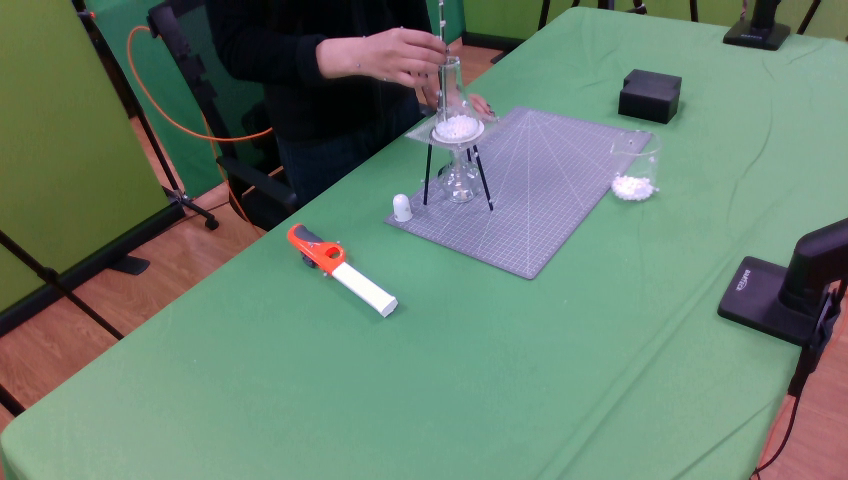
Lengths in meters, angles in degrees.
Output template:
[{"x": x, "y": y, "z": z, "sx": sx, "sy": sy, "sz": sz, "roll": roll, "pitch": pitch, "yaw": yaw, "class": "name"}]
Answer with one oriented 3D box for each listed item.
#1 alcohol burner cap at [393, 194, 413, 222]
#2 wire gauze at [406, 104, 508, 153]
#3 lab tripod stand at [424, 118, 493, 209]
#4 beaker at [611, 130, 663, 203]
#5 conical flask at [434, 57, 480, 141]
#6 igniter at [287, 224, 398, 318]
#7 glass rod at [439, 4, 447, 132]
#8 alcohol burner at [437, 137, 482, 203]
[{"x": -0.039, "y": -0.056, "z": 1.038, "sx": 0.034, "sy": 0.048, "sz": 0.033, "roll": -6, "pitch": 40, "yaw": 5, "class": "alcohol burner cap"}, {"x": 0.054, "y": -0.183, "z": 0.997, "sx": 0.120, "sy": 0.011, "sz": 0.125, "roll": 26, "pitch": 53, "yaw": 38, "class": "wire gauze"}, {"x": 0.061, "y": -0.133, "z": 1.039, "sx": 0.148, "sy": 0.132, "sz": 0.147, "roll": -6, "pitch": 38, "yaw": 6, "class": "lab tripod stand"}, {"x": 0.346, "y": -0.118, "z": 0.998, "sx": 0.084, "sy": 0.101, "sz": 0.073, "roll": -17, "pitch": 40, "yaw": -7, "class": "beaker"}, {"x": 0.046, "y": -0.224, "z": 0.954, "sx": 0.075, "sy": 0.122, "sz": 0.075, "roll": -7, "pitch": 39, "yaw": 6, "class": "conical flask"}, {"x": -0.139, "y": 0.042, "z": 0.958, "sx": 0.057, "sy": 0.025, "sz": 0.274, "roll": -42, "pitch": 49, "yaw": -19, "class": "igniter"}, {"x": 0.030, "y": -0.258, "z": 0.928, "sx": 0.008, "sy": 0.200, "sz": 0.008, "roll": -2, "pitch": 35, "yaw": 2, "class": "glass rod"}, {"x": 0.060, "y": -0.125, "z": 1.045, "sx": 0.078, "sy": 0.119, "sz": 0.077, "roll": -5, "pitch": 38, "yaw": 4, "class": "alcohol burner"}]
